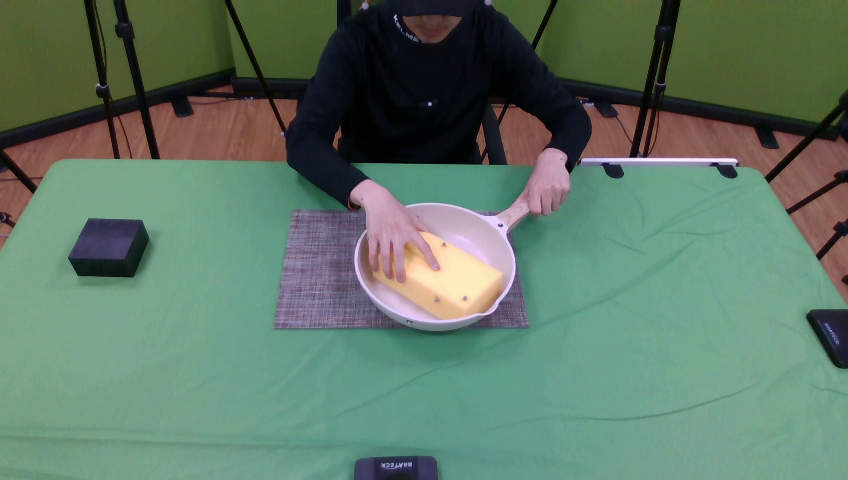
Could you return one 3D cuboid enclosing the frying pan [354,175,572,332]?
[{"bbox_3d":[0.103,-0.001,1.142,0.488,0.103,0.305,-32,56,-19],"label":"frying pan"}]

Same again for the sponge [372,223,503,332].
[{"bbox_3d":[0.022,0.063,1.093,0.206,0.061,0.118,30,47,24],"label":"sponge"}]
